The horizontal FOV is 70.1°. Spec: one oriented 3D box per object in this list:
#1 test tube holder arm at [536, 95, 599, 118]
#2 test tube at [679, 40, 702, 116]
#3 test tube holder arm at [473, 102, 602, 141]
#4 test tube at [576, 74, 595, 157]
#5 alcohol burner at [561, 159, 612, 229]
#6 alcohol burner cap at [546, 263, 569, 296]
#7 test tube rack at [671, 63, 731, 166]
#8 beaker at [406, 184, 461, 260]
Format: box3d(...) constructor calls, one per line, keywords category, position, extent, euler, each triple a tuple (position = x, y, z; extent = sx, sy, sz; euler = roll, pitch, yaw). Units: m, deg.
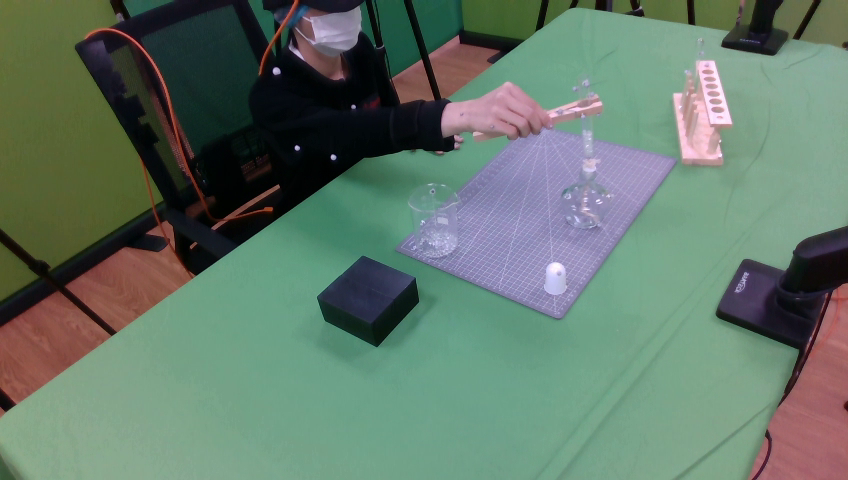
box3d(category="test tube holder arm", position=(0.199, -0.180, 0.837), extent=(0.088, 0.015, 0.010), euler=(-19, 50, 3))
box3d(category="test tube", position=(0.502, -0.303, 1.138), extent=(0.017, 0.151, 0.017), euler=(-4, 40, 4))
box3d(category="test tube holder arm", position=(0.156, -0.164, 0.838), extent=(0.178, 0.015, 0.013), euler=(-13, 50, 8))
box3d(category="test tube", position=(0.228, -0.170, 0.849), extent=(0.017, 0.151, 0.017), euler=(-10, 52, 13))
box3d(category="alcohol burner", position=(0.257, -0.077, 0.951), extent=(0.078, 0.119, 0.077), euler=(-3, 40, 3))
box3d(category="alcohol burner cap", position=(0.191, 0.053, 0.862), extent=(0.034, 0.048, 0.033), euler=(-5, 40, 4))
box3d(category="test tube rack", position=(0.513, -0.240, 1.132), extent=(0.066, 0.085, 0.242), euler=(4, 41, 14))
box3d(category="beaker", position=(0.019, -0.026, 0.939), extent=(0.084, 0.101, 0.074), euler=(1, 41, 10))
